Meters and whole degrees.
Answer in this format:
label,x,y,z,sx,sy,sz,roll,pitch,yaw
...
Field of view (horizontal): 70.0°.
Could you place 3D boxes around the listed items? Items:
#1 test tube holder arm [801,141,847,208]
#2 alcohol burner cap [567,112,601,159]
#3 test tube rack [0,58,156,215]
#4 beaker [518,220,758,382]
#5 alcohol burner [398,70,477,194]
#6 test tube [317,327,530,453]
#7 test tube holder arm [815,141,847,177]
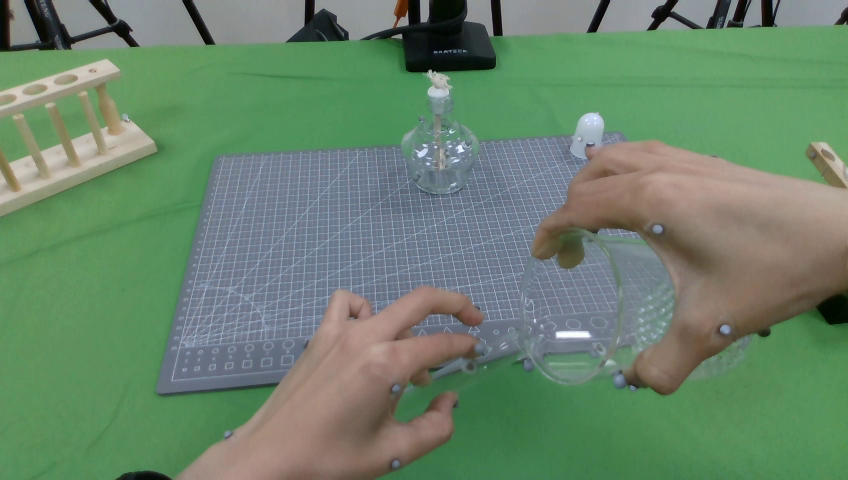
label,x,y,z,sx,sy,sz,roll,pitch,yaw
test tube holder arm,0.364,-0.059,0.542,0.010,0.015,0.087,-7,43,4
alcohol burner cap,0.172,-0.114,0.647,0.034,0.048,0.033,0,43,0
test tube rack,-0.400,-0.088,0.583,0.242,0.086,0.066,-32,52,-30
beaker,0.108,0.035,0.309,0.101,0.084,0.073,6,56,-26
alcohol burner,0.013,-0.106,0.583,0.078,0.120,0.077,-1,42,1
test tube,-0.006,0.089,0.346,0.150,0.017,0.017,-33,38,23
test tube holder arm,0.372,-0.029,0.509,0.013,0.015,0.176,-7,43,3
